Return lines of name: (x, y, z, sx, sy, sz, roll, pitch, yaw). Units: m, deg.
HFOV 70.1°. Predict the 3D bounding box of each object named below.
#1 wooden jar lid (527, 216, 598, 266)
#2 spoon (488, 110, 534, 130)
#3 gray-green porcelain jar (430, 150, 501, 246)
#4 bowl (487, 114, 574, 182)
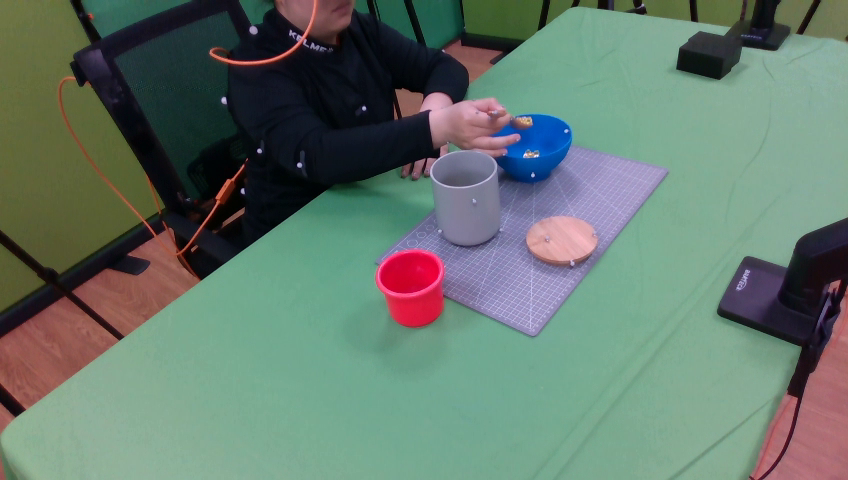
wooden jar lid: (0.214, 0.003, 0.937, 0.108, 0.021, 0.108, -4, 40, 4)
spoon: (0.138, -0.198, 0.987, 0.041, 0.021, 0.195, 11, 6, 25)
gray-green porcelain jar: (0.069, -0.062, 0.959, 0.106, 0.127, 0.105, -5, 40, 5)
bowl: (0.190, -0.156, 1.085, 0.151, 0.077, 0.150, -5, 40, 5)
